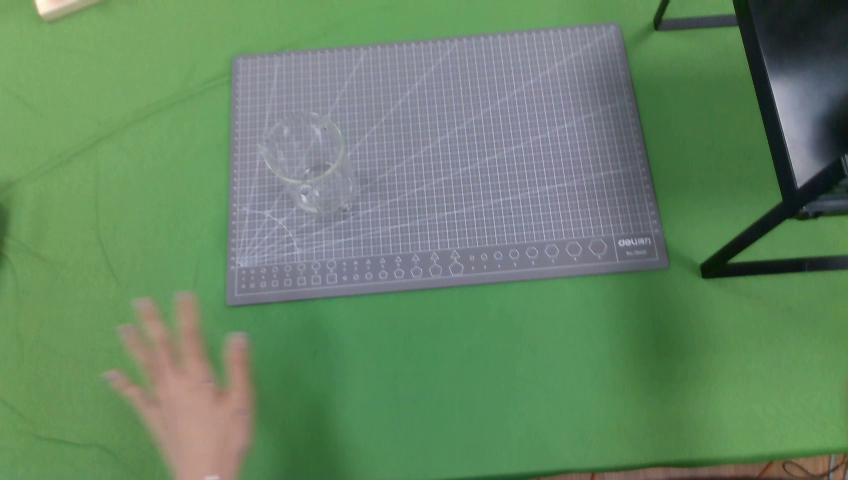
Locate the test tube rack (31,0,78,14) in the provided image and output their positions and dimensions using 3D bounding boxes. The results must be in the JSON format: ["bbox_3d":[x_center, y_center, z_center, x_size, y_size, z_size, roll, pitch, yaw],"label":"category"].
[{"bbox_3d":[-0.370,-0.363,0.713,0.242,0.086,0.066,-25,73,-6],"label":"test tube rack"}]

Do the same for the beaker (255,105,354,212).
[{"bbox_3d":[-0.114,-0.076,0.604,0.084,0.101,0.073,5,72,4],"label":"beaker"}]
